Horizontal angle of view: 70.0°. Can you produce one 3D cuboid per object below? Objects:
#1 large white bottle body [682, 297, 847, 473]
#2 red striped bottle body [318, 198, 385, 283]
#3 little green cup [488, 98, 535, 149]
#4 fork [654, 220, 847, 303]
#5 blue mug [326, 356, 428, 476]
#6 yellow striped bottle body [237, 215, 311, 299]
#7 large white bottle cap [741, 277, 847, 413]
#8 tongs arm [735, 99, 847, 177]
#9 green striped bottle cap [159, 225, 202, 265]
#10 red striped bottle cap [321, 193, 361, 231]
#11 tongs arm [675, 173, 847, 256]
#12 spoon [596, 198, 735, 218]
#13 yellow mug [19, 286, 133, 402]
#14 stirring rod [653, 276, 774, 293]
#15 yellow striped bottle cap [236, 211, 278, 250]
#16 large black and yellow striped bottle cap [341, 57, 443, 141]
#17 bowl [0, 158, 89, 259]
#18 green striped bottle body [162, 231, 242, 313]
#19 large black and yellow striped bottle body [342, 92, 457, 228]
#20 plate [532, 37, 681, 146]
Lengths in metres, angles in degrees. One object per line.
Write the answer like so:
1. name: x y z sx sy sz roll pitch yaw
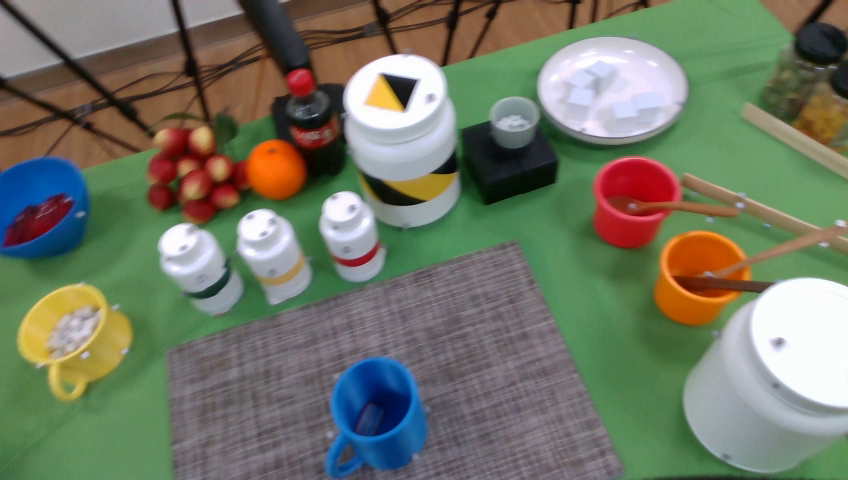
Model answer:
1. large white bottle body: 0.328 0.129 0.559 0.130 0.186 0.129 -3 57 5
2. red striped bottle body: -0.088 -0.003 0.730 0.063 0.121 0.062 -4 56 7
3. little green cup: 0.113 -0.151 0.792 0.061 0.039 0.061 -2 55 4
4. fork: 0.343 0.025 0.647 0.207 0.019 0.028 -33 43 39
5. blue mug: -0.052 0.187 0.607 0.081 0.107 0.116 34 67 25
6. yellow striped bottle body: -0.182 0.017 0.726 0.063 0.121 0.062 -3 56 5
7. large white bottle cap: 0.320 0.082 0.489 0.115 0.018 0.113 -3 56 4
8. tongs arm: 0.556 -0.068 0.755 0.028 0.028 0.384 -33 60 -22
9. green striped bottle cap: -0.274 0.006 0.681 0.044 0.020 0.044 -2 55 3
10. red striped bottle cap: -0.094 -0.032 0.686 0.044 0.018 0.044 -1 54 2
11. tongs arm: 0.496 -0.009 0.721 0.382 0.027 0.050 29 61 21
12. spoon: 0.271 -0.037 0.699 0.041 0.192 0.022 -32 104 -19
13. yellow mug: -0.410 0.125 0.713 0.100 0.064 0.129 -9 57 0
14. stirring rod: 0.318 0.047 0.642 0.014 0.006 0.175 -40 20 -25
15. yellow striped bottle cap: -0.188 -0.011 0.683 0.044 0.019 0.044 -1 52 2
16. large black and yellow striped bottle cap: -0.036 -0.161 0.685 0.115 0.019 0.114 -4 59 7
17. bowl: -0.516 -0.028 0.817 0.151 0.077 0.150 -2 57 4
18. green striped bottle body: -0.267 0.034 0.725 0.063 0.120 0.062 -3 57 4
19. large black and yellow striped bottle body: -0.029 -0.115 0.758 0.131 0.186 0.129 -3 57 5
20. plate: 0.260 -0.212 0.877 0.209 0.038 0.207 -3 57 4
